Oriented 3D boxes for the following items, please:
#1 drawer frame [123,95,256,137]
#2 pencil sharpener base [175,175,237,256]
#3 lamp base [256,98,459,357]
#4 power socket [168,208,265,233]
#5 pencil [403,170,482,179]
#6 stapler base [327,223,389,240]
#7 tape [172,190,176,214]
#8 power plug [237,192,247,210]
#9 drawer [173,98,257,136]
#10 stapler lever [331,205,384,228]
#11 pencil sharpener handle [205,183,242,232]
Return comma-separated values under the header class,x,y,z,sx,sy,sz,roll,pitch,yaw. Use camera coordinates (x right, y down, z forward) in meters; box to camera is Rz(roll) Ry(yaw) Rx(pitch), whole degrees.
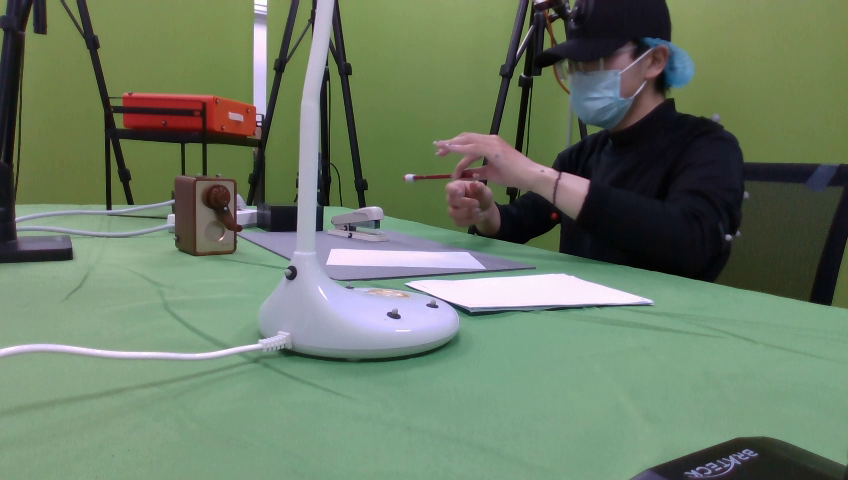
class,x,y,z,sx,sy,sz,roll,pitch,yaw
drawer frame,-0.524,-0.281,1.376,0.213,0.082,0.202,3,8,8
pencil sharpener base,-0.304,-0.036,0.847,0.062,0.107,0.076,-4,10,-42
lamp base,-0.055,-0.013,0.463,0.160,0.180,0.180,6,11,27
power socket,-0.381,-0.038,1.129,0.072,0.032,0.227,4,8,17
pencil,0.028,-0.111,1.021,0.012,0.012,0.193,-5,6,-41
stapler base,-0.117,-0.018,1.073,0.130,0.024,0.041,7,8,41
tape,-0.515,-0.087,1.388,0.117,0.052,0.117,3,7,0
power plug,-0.386,-0.071,1.204,0.072,0.052,0.035,7,8,26
drawer,-0.518,-0.279,1.376,0.211,0.073,0.195,3,8,9
stapler lever,-0.118,-0.044,1.070,0.117,0.040,0.027,7,8,41
pencil sharpener handle,-0.265,-0.043,0.812,0.036,0.068,0.030,-32,28,-35
